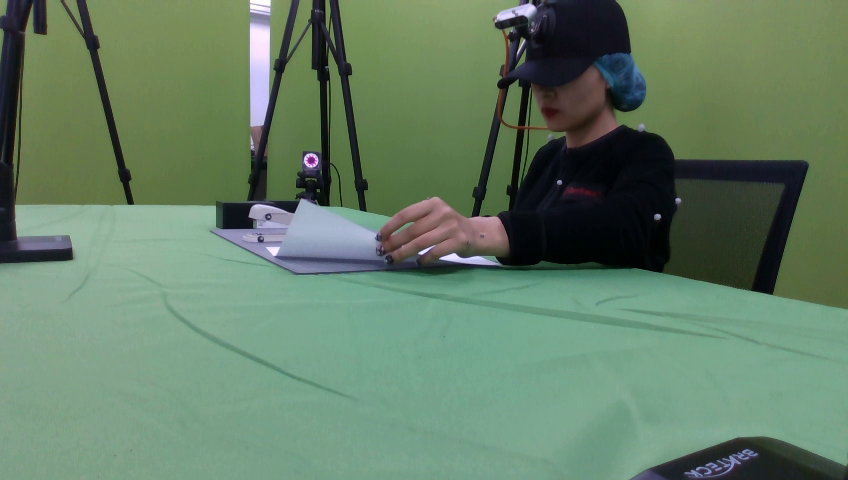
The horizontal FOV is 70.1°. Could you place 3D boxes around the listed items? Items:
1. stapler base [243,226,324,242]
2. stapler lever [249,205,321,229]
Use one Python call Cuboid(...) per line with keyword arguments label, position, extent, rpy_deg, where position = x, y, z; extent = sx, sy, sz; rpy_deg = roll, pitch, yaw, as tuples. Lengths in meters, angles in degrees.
Cuboid(label="stapler base", position=(-0.230, -0.012, 0.996), extent=(0.131, 0.024, 0.041), rpy_deg=(-1, 10, -36))
Cuboid(label="stapler lever", position=(-0.228, -0.037, 0.994), extent=(0.119, 0.040, 0.026), rpy_deg=(-1, 10, -36))
